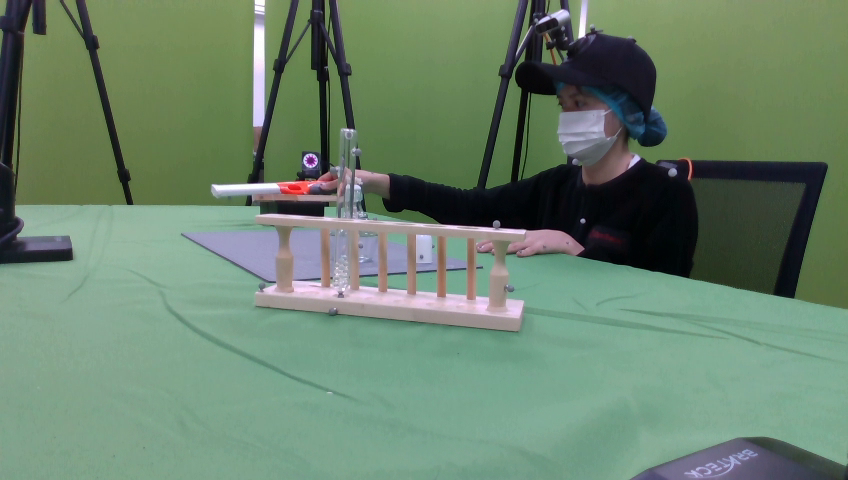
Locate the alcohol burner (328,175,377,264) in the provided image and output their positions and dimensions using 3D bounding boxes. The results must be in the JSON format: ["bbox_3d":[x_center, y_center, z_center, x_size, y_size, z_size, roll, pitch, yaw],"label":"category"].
[{"bbox_3d":[-0.098,-0.028,0.819,0.078,0.119,0.078,1,8,0],"label":"alcohol burner"}]

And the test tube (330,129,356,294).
[{"bbox_3d":[-0.074,-0.025,0.548,0.017,0.150,0.017,4,6,0],"label":"test tube"}]

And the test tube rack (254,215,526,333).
[{"bbox_3d":[-0.030,0.025,0.557,0.242,0.085,0.067,4,7,12],"label":"test tube rack"}]

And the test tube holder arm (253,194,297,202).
[{"bbox_3d":[-0.293,-0.083,1.193,0.088,0.015,0.010,-2,-2,-37],"label":"test tube holder arm"}]

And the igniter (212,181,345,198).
[{"bbox_3d":[-0.297,-0.107,1.263,0.278,0.025,0.057,-5,30,-34],"label":"igniter"}]

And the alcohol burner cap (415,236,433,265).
[{"bbox_3d":[-0.004,0.011,0.835,0.034,0.048,0.034,2,7,0],"label":"alcohol burner cap"}]

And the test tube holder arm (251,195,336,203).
[{"bbox_3d":[-0.260,-0.084,1.224,0.179,0.015,0.013,-2,-2,-37],"label":"test tube holder arm"}]
